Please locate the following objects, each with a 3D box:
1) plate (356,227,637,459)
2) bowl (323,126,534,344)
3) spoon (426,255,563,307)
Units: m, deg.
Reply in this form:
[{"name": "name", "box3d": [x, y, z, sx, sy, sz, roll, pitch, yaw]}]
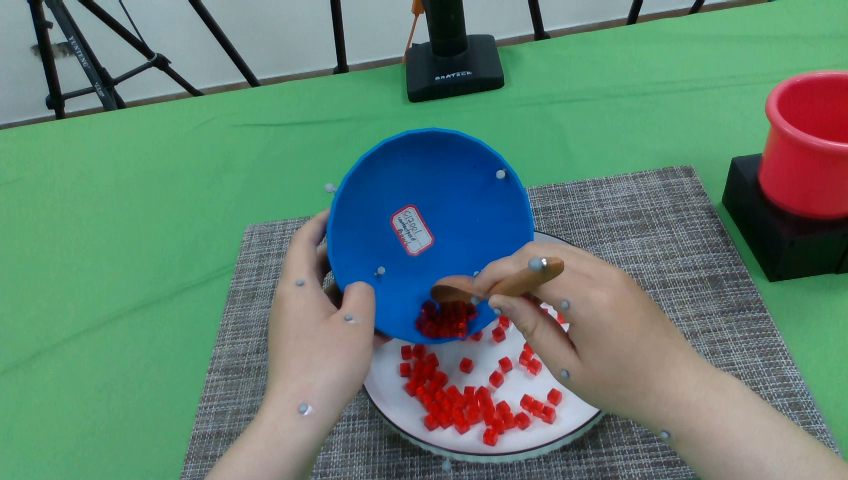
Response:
[{"name": "plate", "box3d": [0.053, 0.072, 0.465, 0.207, 0.039, 0.205, -6, 46, 7]}, {"name": "bowl", "box3d": [-0.003, -0.004, 0.450, 0.151, 0.152, 0.076, -26, 11, -14]}, {"name": "spoon", "box3d": [0.039, 0.028, 0.360, 0.042, 0.193, 0.021, 14, 81, -11]}]
